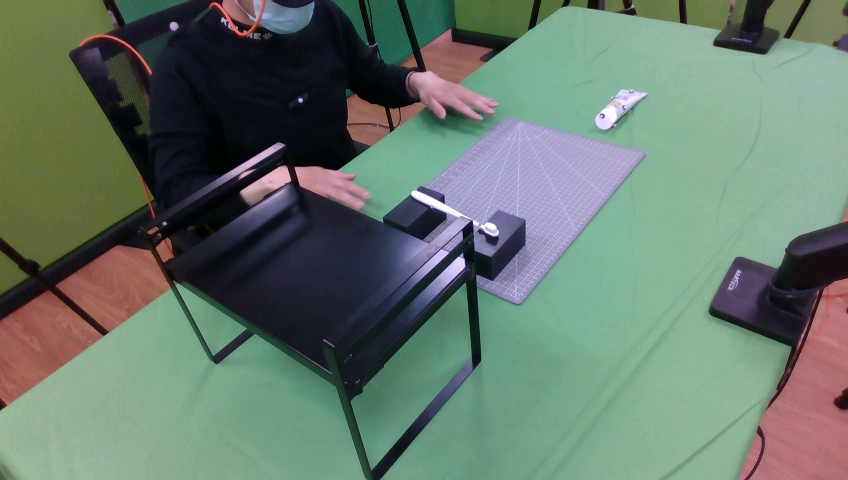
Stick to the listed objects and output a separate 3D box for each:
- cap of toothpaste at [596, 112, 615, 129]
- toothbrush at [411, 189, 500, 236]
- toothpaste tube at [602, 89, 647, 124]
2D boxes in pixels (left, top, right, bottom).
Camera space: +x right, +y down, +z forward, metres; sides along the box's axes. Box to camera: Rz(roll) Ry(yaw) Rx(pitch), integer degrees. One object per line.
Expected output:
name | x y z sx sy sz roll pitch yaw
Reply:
cap of toothpaste | 0.354 -0.233 1.177 0.037 0.037 0.011 20 44 28
toothbrush | 0.044 -0.046 0.940 0.180 0.017 0.014 28 67 36
toothpaste tube | 0.400 -0.274 1.227 0.054 0.034 0.165 22 45 26
